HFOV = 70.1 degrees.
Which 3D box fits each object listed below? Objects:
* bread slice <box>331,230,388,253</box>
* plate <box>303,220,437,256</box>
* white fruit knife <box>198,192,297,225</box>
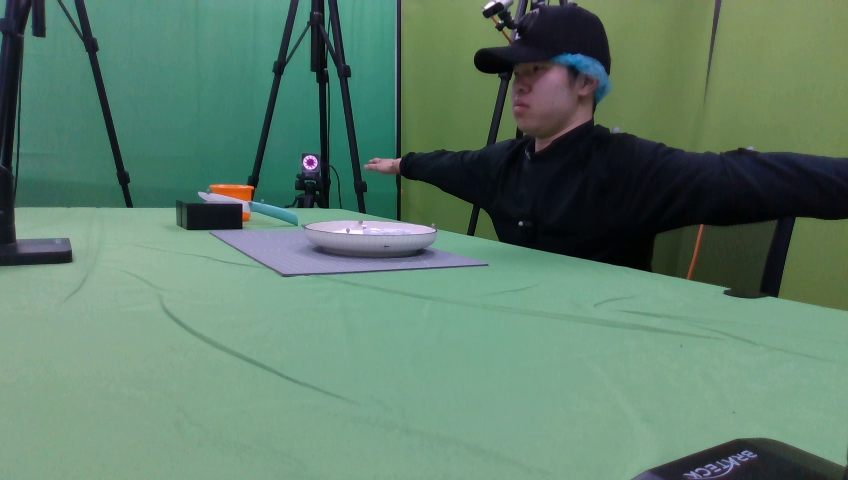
[{"bbox_3d":[-0.088,0.000,0.947,0.105,0.019,0.131,-4,11,-44],"label":"bread slice"},{"bbox_3d":[-0.084,-0.003,0.951,0.209,0.038,0.209,3,7,0],"label":"plate"},{"bbox_3d":[-0.351,-0.068,1.224,0.208,0.027,0.016,15,-1,-33],"label":"white fruit knife"}]
